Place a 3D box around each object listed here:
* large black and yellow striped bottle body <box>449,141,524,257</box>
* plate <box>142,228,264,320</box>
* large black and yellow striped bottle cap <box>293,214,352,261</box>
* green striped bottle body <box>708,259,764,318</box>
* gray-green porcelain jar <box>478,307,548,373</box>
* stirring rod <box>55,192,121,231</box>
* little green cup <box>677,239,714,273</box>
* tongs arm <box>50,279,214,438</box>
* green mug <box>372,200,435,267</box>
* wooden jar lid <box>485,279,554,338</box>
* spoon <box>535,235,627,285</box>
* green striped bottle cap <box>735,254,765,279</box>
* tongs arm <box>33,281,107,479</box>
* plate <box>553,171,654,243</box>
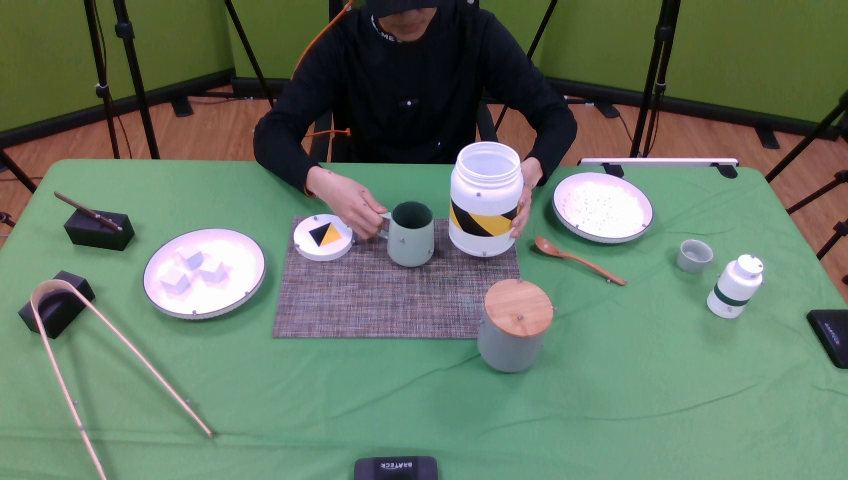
[{"bbox_3d":[0.113,-0.076,1.107,0.131,0.185,0.130,0,43,0],"label":"large black and yellow striped bottle body"},{"bbox_3d":[-0.394,0.064,1.095,0.208,0.039,0.206,2,46,-2],"label":"plate"},{"bbox_3d":[-0.198,-0.007,1.187,0.115,0.019,0.114,3,47,-3],"label":"large black and yellow striped bottle cap"},{"bbox_3d":[0.563,0.081,1.089,0.063,0.120,0.063,2,46,-2],"label":"green striped bottle body"},{"bbox_3d":[0.144,0.148,0.989,0.106,0.127,0.105,2,50,-2],"label":"gray-green porcelain jar"},{"bbox_3d":[-0.632,-0.055,1.138,0.175,0.014,0.006,24,50,19],"label":"stirring rod"},{"bbox_3d":[0.530,0.033,1.189,0.061,0.039,0.061,2,47,-2],"label":"little green cup"},{"bbox_3d":[-0.459,0.178,0.949,0.386,0.028,0.028,37,60,17],"label":"tongs arm"},{"bbox_3d":[-0.040,-0.015,1.146,0.125,0.105,0.092,16,48,12],"label":"green mug"},{"bbox_3d":[0.147,0.108,0.940,0.108,0.021,0.107,4,47,-4],"label":"wooden jar lid"},{"bbox_3d":[0.304,0.040,1.178,0.193,0.022,0.041,25,35,20],"label":"spoon"},{"bbox_3d":[0.566,0.046,1.051,0.044,0.020,0.044,0,45,0],"label":"green striped bottle cap"},{"bbox_3d":[-0.517,0.214,0.910,0.051,0.026,0.383,-29,63,-26],"label":"tongs arm"},{"bbox_3d":[0.373,-0.066,1.274,0.209,0.038,0.208,2,46,-2],"label":"plate"}]
